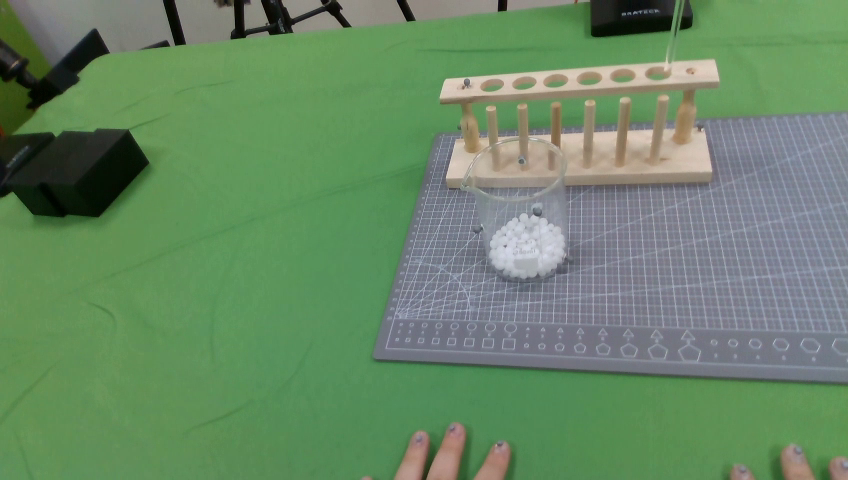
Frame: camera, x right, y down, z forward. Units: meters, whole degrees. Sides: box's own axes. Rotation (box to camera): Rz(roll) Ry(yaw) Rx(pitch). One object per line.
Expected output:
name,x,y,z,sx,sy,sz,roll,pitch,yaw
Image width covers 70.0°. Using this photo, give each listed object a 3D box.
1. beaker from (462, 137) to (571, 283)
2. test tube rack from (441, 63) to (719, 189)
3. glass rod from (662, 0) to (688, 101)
beaker,0.078,-0.020,0.491,0.084,0.101,0.073,-14,44,2
test tube rack,0.139,-0.103,0.567,0.241,0.086,0.066,0,46,15
glass rod,0.209,-0.157,0.506,0.008,0.202,0.008,-5,48,6
